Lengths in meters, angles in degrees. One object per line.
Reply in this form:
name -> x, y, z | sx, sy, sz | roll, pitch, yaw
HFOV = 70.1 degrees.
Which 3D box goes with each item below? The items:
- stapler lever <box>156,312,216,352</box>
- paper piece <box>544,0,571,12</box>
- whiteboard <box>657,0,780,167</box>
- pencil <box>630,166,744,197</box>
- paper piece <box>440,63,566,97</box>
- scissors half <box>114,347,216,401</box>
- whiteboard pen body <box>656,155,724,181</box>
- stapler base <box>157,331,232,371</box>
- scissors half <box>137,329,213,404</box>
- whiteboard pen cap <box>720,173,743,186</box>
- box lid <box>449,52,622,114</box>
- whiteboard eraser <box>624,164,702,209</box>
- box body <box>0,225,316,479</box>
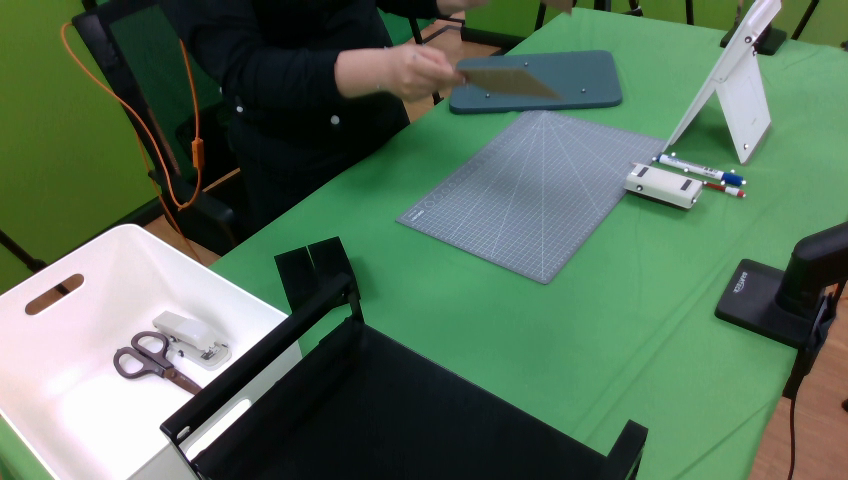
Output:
stapler lever -> -0.331, 0.122, 0.834 | 0.117, 0.040, 0.027 | 17, 43, 33
paper piece -> 0.178, -0.423, 0.970 | 0.135, 0.136, 0.004 | 32, 93, 12
whiteboard -> 0.571, -0.272, 1.038 | 0.143, 0.306, 0.218 | 36, 54, 17
pencil -> 0.447, -0.103, 1.038 | 0.192, 0.012, 0.012 | 21, 48, 29
paper piece -> 0.115, -0.231, 0.865 | 0.137, 0.008, 0.137 | 15, 2, 37
scissors half -> -0.348, 0.185, 0.811 | 0.174, 0.013, 0.040 | 14, 53, 19
whiteboard pen body -> 0.475, -0.123, 1.052 | 0.139, 0.017, 0.017 | 24, 49, 32
stapler base -> -0.326, 0.142, 0.849 | 0.129, 0.024, 0.041 | 18, 43, 32
scissors half -> -0.336, 0.172, 0.822 | 0.174, 0.013, 0.040 | 34, 56, 31
whiteboard pen cap -> 0.519, -0.103, 1.020 | 0.033, 0.018, 0.018 | 23, 49, 30
box lid -> 0.249, -0.358, 1.370 | 0.371, 0.015, 0.262 | -1, 40, 9
whiteboard eraser -> 0.396, -0.086, 1.003 | 0.112, 0.042, 0.056 | 22, 48, 31
box body -> -0.339, 0.162, 0.728 | 0.361, 0.161, 0.255 | 23, 48, 31
